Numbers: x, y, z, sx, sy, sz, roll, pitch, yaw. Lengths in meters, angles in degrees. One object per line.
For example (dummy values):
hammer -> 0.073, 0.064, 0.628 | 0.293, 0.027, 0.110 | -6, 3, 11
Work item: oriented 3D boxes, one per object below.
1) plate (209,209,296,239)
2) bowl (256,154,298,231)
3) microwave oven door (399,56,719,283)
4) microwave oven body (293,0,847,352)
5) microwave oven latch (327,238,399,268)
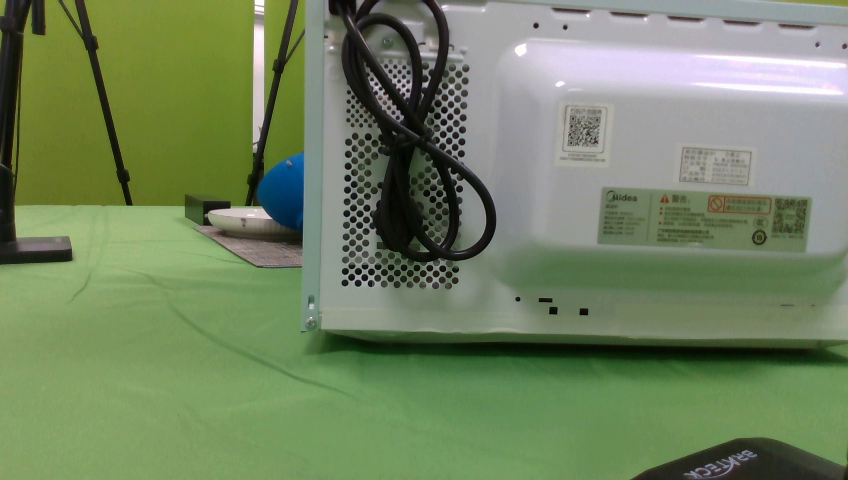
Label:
plate -> -0.271, -0.029, 1.074 | 0.208, 0.039, 0.207 | 3, 7, 0
bowl -> -0.173, -0.058, 0.931 | 0.152, 0.076, 0.151 | -22, -27, -11
microwave oven door -> 0.155, -0.078, 0.698 | 0.356, 0.243, 0.039 | 2, 8, -5
microwave oven body -> 0.122, -0.055, 0.550 | 0.442, 0.260, 0.325 | 3, 7, -5
microwave oven latch -> -0.069, 0.015, 0.694 | 0.079, 0.029, 0.030 | 3, 7, -3
